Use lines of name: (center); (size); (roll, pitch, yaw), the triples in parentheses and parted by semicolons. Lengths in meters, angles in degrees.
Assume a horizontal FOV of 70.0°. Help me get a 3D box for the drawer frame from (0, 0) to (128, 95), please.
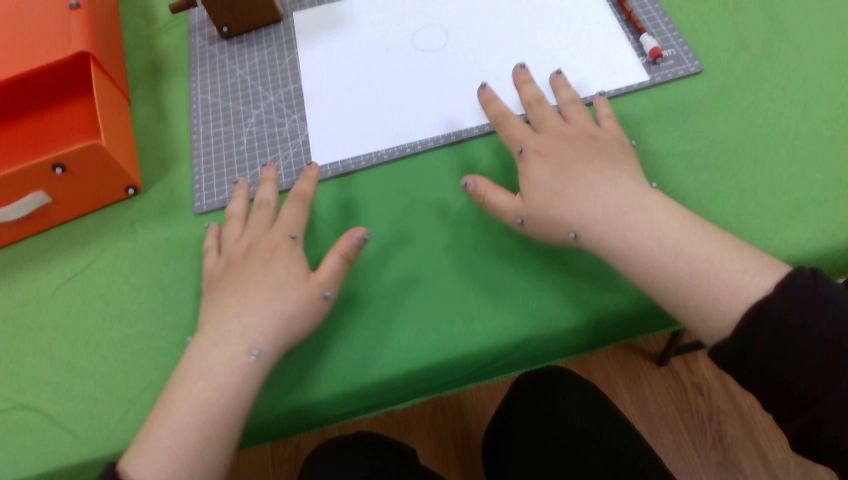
drawer frame: (-0.417, -0.196, 0.611); (0.202, 0.083, 0.211); (-22, 58, -3)

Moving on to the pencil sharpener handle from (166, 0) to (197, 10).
pencil sharpener handle: (-0.246, -0.254, 0.583); (0.030, 0.068, 0.035); (-21, 55, -1)

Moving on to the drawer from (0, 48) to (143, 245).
drawer: (-0.375, -0.104, 0.552); (0.194, 0.074, 0.209); (-23, 59, -3)

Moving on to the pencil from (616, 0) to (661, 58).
pencil: (0.177, -0.236, 0.567); (0.012, 0.012, 0.192); (-16, 58, 1)

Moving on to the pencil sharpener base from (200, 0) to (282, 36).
pencil sharpener base: (-0.196, -0.266, 0.595); (0.077, 0.108, 0.060); (-21, 59, -1)
